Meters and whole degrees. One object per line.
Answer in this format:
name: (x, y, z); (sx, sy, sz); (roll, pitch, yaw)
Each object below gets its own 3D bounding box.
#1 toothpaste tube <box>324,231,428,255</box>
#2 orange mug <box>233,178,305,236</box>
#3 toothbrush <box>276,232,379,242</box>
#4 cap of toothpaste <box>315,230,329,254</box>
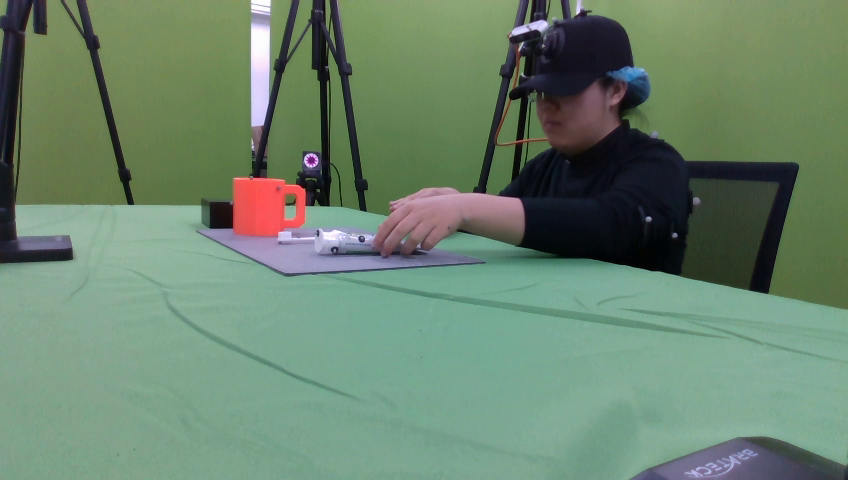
toothpaste tube: (-0.076, 0.006, 0.893); (0.166, 0.034, 0.055); (1, 10, -32)
orange mug: (-0.273, -0.061, 1.067); (0.127, 0.101, 0.083); (-5, 10, -24)
toothbrush: (-0.153, -0.005, 0.990); (0.183, 0.016, 0.014); (-1, -6, -33)
cap of toothpaste: (-0.144, 0.003, 0.854); (0.011, 0.037, 0.037); (2, 6, -30)
